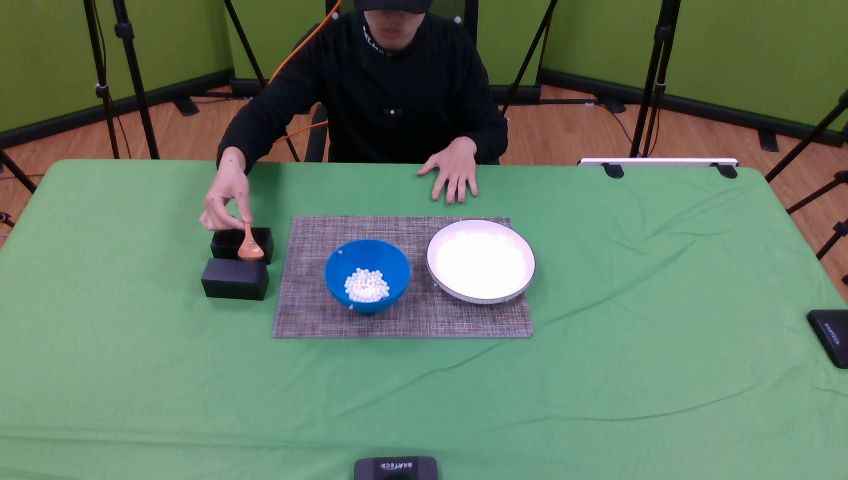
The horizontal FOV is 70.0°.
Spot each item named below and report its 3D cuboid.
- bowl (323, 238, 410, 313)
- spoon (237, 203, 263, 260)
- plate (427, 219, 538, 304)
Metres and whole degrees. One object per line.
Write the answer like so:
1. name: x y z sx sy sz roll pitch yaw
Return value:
1. bowl: -0.101 0.077 1.073 0.151 0.077 0.150 2 46 -2
2. spoon: -0.313 -0.018 1.076 0.042 0.022 0.192 -1 35 -19
3. plate: 0.109 0.044 1.149 0.208 0.039 0.206 2 46 -2
